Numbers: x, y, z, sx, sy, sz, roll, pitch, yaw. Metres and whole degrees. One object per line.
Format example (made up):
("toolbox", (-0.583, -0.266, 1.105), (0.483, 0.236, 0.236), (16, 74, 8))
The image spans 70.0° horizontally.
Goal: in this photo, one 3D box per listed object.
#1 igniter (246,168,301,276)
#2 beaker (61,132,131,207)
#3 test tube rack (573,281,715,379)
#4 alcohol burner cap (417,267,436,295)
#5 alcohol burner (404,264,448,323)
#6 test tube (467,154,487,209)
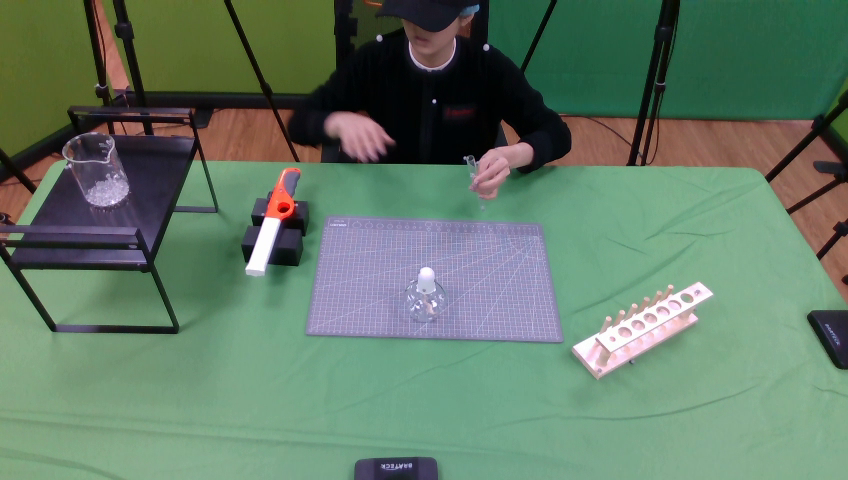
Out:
("igniter", (-0.282, -0.044, 1.149), (0.057, 0.025, 0.275), (8, 48, -1))
("beaker", (-0.512, -0.107, 0.959), (0.083, 0.101, 0.074), (29, 51, 22))
("test tube rack", (0.378, 0.140, 1.038), (0.242, 0.085, 0.066), (-22, 51, -23))
("alcohol burner cap", (0.004, 0.066, 1.019), (0.034, 0.048, 0.033), (0, 47, 1))
("alcohol burner", (0.003, 0.087, 1.042), (0.078, 0.120, 0.077), (1, 45, 0))
("test tube", (0.104, -0.110, 1.175), (0.017, 0.151, 0.017), (-8, 52, 11))
